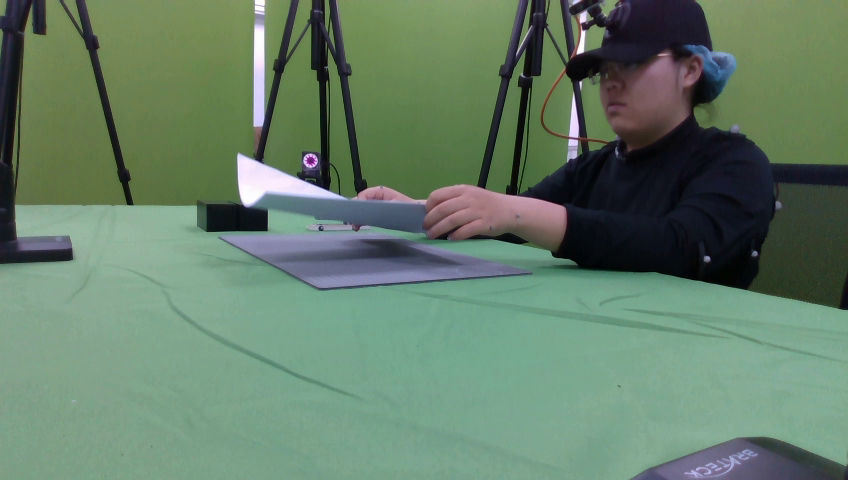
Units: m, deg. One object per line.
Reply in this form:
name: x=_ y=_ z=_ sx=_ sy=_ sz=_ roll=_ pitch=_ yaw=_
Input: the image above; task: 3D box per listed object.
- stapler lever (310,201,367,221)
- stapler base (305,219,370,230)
stapler lever: x=-0.170 y=-0.057 z=1.213 sx=0.119 sy=0.040 sz=0.026 roll=-1 pitch=11 yaw=-34
stapler base: x=-0.173 y=-0.033 z=1.215 sx=0.131 sy=0.024 sz=0.041 roll=0 pitch=10 yaw=-35
